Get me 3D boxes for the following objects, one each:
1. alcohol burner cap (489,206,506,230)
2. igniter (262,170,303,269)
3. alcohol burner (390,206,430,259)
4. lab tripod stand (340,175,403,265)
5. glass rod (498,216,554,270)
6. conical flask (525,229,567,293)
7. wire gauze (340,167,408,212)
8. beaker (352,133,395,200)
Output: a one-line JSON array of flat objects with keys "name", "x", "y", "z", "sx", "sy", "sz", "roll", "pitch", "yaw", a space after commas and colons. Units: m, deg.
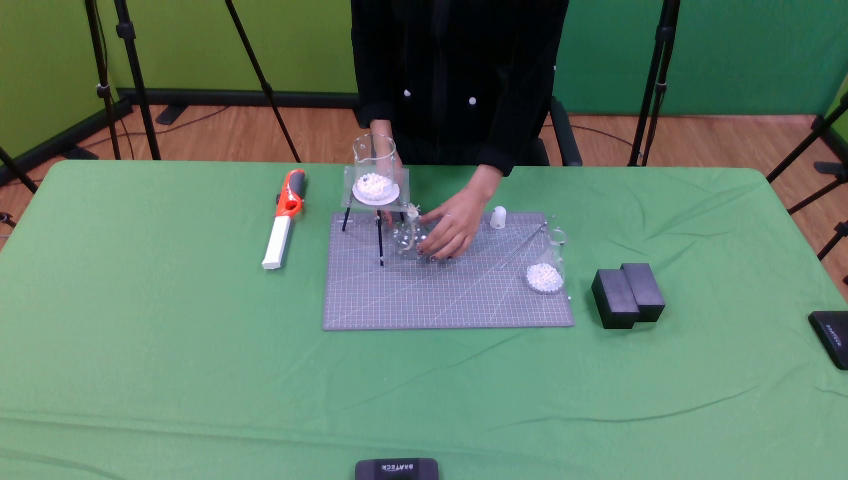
[{"name": "alcohol burner cap", "x": 0.152, "y": -0.047, "z": 1.240, "sx": 0.034, "sy": 0.048, "sz": 0.033, "roll": 2, "pitch": 45, "yaw": -2}, {"name": "igniter", "x": -0.283, "y": -0.050, "z": 1.222, "sx": 0.057, "sy": 0.025, "sz": 0.275, "roll": -5, "pitch": 45, "yaw": 6}, {"name": "alcohol burner", "x": -0.025, "y": -0.021, "z": 1.151, "sx": 0.078, "sy": 0.119, "sz": 0.077, "roll": 4, "pitch": 45, "yaw": -4}, {"name": "lab tripod stand", "x": -0.093, "y": -0.050, "z": 1.160, "sx": 0.148, "sy": 0.132, "sz": 0.147, "roll": 2, "pitch": 44, "yaw": -2}, {"name": "glass rod", "x": 0.208, "y": 0.003, "z": 1.220, "sx": 0.008, "sy": 0.008, "sz": 0.199, "roll": 32, "pitch": 52, "yaw": 25}, {"name": "conical flask", "x": 0.231, "y": 0.036, "z": 1.110, "sx": 0.075, "sy": 0.122, "sz": 0.075, "roll": 2, "pitch": 46, "yaw": -2}, {"name": "wire gauze", "x": -0.091, "y": -0.095, "z": 1.111, "sx": 0.125, "sy": 0.011, "sz": 0.120, "roll": 1, "pitch": 43, "yaw": -2}, {"name": "beaker", "x": -0.091, "y": -0.126, "z": 1.074, "sx": 0.074, "sy": 0.101, "sz": 0.084, "roll": 26, "pitch": 49, "yaw": 21}]
